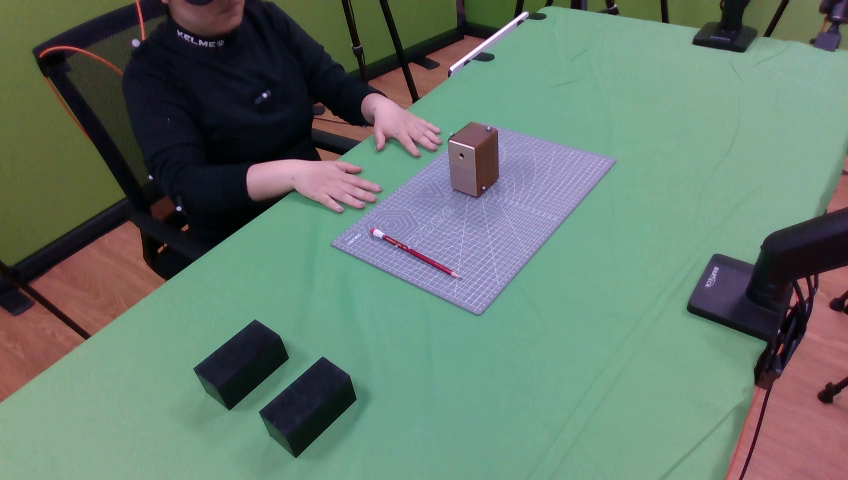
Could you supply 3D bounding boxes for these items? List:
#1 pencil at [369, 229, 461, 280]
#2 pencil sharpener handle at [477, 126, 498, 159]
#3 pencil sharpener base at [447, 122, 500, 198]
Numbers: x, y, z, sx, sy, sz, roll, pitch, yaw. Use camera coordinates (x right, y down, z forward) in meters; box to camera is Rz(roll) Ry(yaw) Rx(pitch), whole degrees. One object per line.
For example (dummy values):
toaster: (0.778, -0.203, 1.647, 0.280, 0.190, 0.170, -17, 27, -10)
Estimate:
pencil: (-0.016, 0.022, 0.952, 0.192, 0.012, 0.012, 27, 51, 33)
pencil sharpener handle: (0.119, -0.178, 1.073, 0.035, 0.068, 0.031, 22, 48, 31)
pencil sharpener base: (0.089, -0.140, 1.052, 0.061, 0.107, 0.077, 22, 48, 31)
